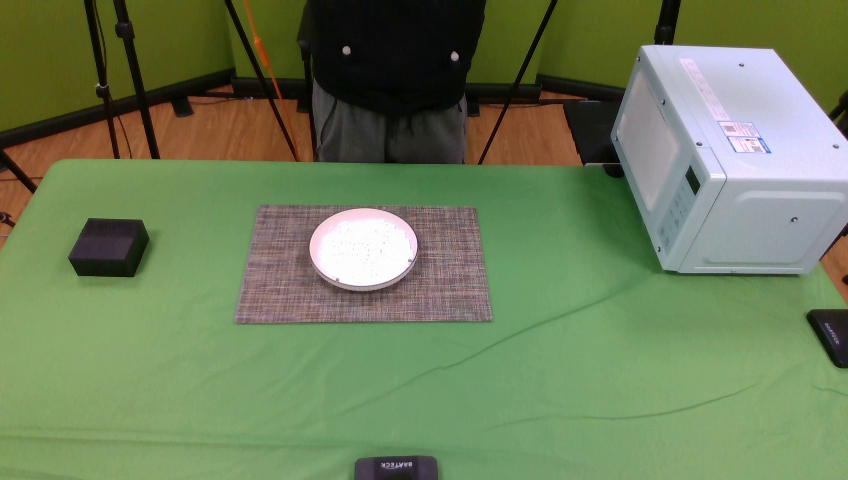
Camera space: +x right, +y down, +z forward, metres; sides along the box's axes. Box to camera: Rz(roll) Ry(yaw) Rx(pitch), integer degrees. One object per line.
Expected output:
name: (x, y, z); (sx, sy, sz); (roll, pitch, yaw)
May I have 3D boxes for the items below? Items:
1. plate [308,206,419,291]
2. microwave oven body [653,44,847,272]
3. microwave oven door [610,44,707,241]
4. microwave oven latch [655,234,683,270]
plate: (-0.115, 0.019, 1.153); (0.209, 0.038, 0.208); (2, 47, -2)
microwave oven body: (0.620, -0.172, 1.234); (0.326, 0.261, 0.439); (0, 46, -3)
microwave oven door: (0.473, -0.208, 1.250); (0.039, 0.245, 0.353); (0, 47, -3)
microwave oven latch: (0.473, 0.021, 1.175); (0.030, 0.029, 0.078); (2, 46, -1)
